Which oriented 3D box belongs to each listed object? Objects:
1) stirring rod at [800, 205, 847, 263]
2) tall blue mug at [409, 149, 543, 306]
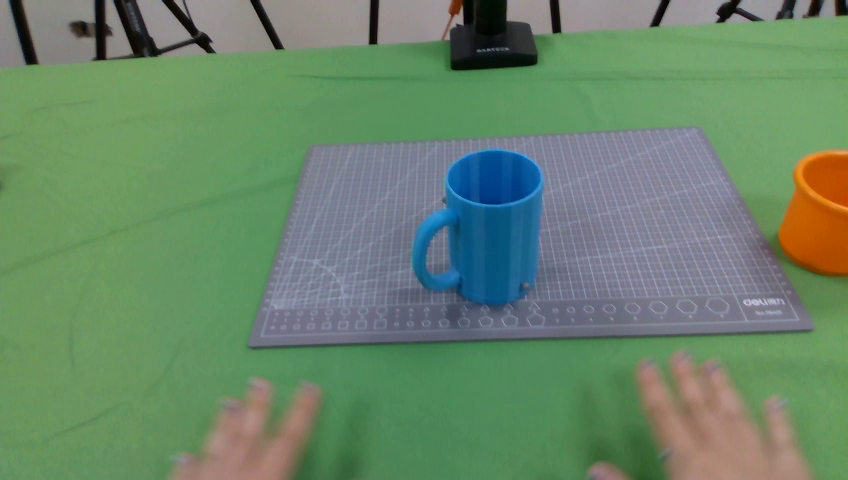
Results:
[{"bbox_3d":[0.377,-0.050,0.494,0.176,0.006,0.014,-52,40,14],"label":"stirring rod"},{"bbox_3d":[0.047,0.000,0.490,0.077,0.109,0.107,21,48,25],"label":"tall blue mug"}]
